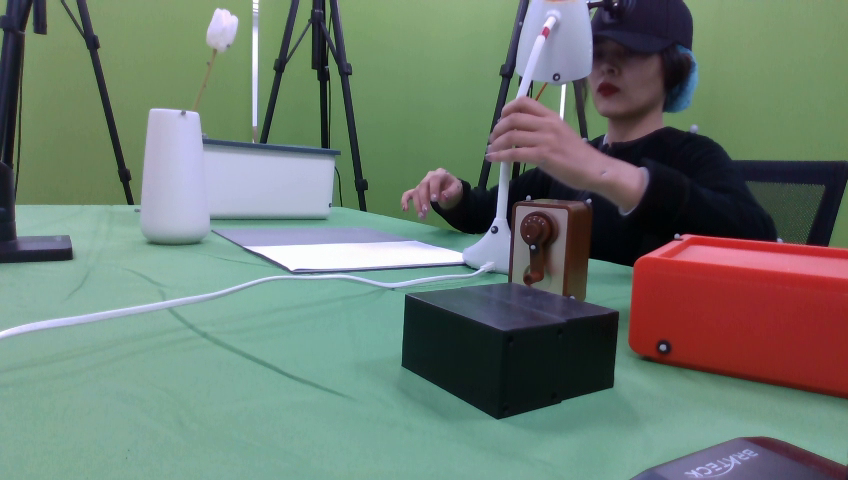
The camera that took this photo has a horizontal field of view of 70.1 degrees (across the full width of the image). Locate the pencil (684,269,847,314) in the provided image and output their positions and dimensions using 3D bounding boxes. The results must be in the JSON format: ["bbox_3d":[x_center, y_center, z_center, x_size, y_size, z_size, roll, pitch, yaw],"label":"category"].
[{"bbox_3d":[0.307,0.045,0.516,0.194,0.012,0.012,13,5,-11],"label":"pencil"}]

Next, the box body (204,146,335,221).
[{"bbox_3d":[-0.411,-0.135,1.386,0.366,0.160,0.253,-2,9,-29],"label":"box body"}]

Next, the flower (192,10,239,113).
[{"bbox_3d":[-0.354,-0.174,0.915,0.038,0.361,0.044,18,-3,12],"label":"flower"}]

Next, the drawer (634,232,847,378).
[{"bbox_3d":[0.291,0.044,0.488,0.193,0.073,0.213,7,9,30],"label":"drawer"}]

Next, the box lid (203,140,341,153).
[{"bbox_3d":[-0.396,-0.213,1.373,0.373,0.015,0.262,-1,9,-29],"label":"box lid"}]

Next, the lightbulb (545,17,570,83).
[{"bbox_3d":[0.192,-0.282,0.879,0.059,0.108,0.059,-10,28,6],"label":"lightbulb"}]

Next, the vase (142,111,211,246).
[{"bbox_3d":[-0.378,-0.093,0.920,0.098,0.200,0.098,2,9,0],"label":"vase"}]

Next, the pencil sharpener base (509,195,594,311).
[{"bbox_3d":[0.126,0.011,0.601,0.061,0.107,0.077,7,9,30],"label":"pencil sharpener base"}]

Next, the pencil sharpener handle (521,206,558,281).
[{"bbox_3d":[0.101,0.003,0.555,0.036,0.067,0.031,0,5,31],"label":"pencil sharpener handle"}]

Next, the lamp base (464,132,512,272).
[{"bbox_3d":[0.132,-0.052,0.807,0.160,0.180,0.180,7,12,29],"label":"lamp base"}]

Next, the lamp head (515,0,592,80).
[{"bbox_3d":[0.186,-0.300,0.861,0.112,0.123,0.112,-4,39,3],"label":"lamp head"}]

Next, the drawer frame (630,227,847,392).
[{"bbox_3d":[0.292,0.043,0.484,0.201,0.082,0.214,7,9,29],"label":"drawer frame"}]
